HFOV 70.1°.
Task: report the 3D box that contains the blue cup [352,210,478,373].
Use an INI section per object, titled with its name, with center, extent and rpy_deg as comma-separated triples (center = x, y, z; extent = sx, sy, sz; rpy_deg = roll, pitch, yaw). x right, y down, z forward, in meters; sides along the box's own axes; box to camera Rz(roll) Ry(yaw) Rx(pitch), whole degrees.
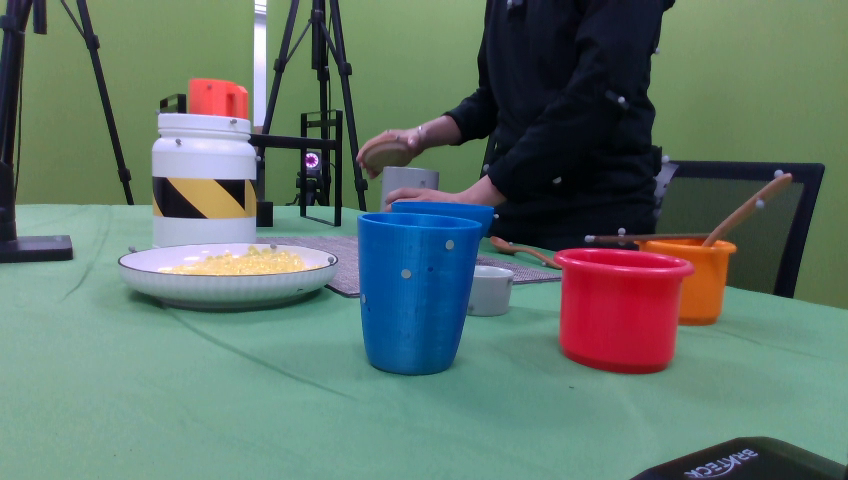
[blue cup]
center = -0.009, 0.034, 0.414
extent = 0.093, 0.100, 0.092
rpy_deg = 4, 8, 0

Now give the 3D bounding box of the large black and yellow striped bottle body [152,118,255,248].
[large black and yellow striped bottle body]
center = -0.296, -0.070, 0.819
extent = 0.131, 0.184, 0.130
rpy_deg = 2, 7, 0

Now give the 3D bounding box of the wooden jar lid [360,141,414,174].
[wooden jar lid]
center = -0.073, -0.161, 1.197
extent = 0.108, 0.020, 0.108
rpy_deg = -7, -20, -2

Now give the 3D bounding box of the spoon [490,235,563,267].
[spoon]
center = 0.154, 0.015, 0.926
extent = 0.042, 0.021, 0.193
rpy_deg = 20, 0, -23

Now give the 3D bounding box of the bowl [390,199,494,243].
[bowl]
center = 0.024, -0.015, 0.871
extent = 0.151, 0.077, 0.151
rpy_deg = 3, 7, 0

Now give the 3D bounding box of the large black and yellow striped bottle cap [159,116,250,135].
[large black and yellow striped bottle cap]
center = -0.292, -0.153, 0.810
extent = 0.115, 0.019, 0.115
rpy_deg = 3, 9, 0

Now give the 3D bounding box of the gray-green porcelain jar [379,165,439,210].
[gray-green porcelain jar]
center = -0.030, -0.072, 1.126
extent = 0.106, 0.126, 0.106
rpy_deg = 4, 4, 0

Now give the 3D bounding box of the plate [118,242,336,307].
[plate]
center = -0.194, 0.033, 0.615
extent = 0.209, 0.038, 0.209
rpy_deg = 2, 7, 0

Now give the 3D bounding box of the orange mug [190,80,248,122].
[orange mug]
center = -0.394, -0.257, 1.173
extent = 0.126, 0.100, 0.084
rpy_deg = 1, 6, 25

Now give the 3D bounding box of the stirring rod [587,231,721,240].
[stirring rod]
center = 0.227, -0.005, 0.586
extent = 0.177, 0.006, 0.014
rpy_deg = -1, 6, -28

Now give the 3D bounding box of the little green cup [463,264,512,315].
[little green cup]
center = 0.053, 0.047, 0.580
extent = 0.061, 0.038, 0.061
rpy_deg = 3, 8, 0

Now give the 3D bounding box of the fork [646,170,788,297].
[fork]
center = 0.256, 0.004, 0.543
extent = 0.028, 0.018, 0.207
rpy_deg = 3, -36, -9
